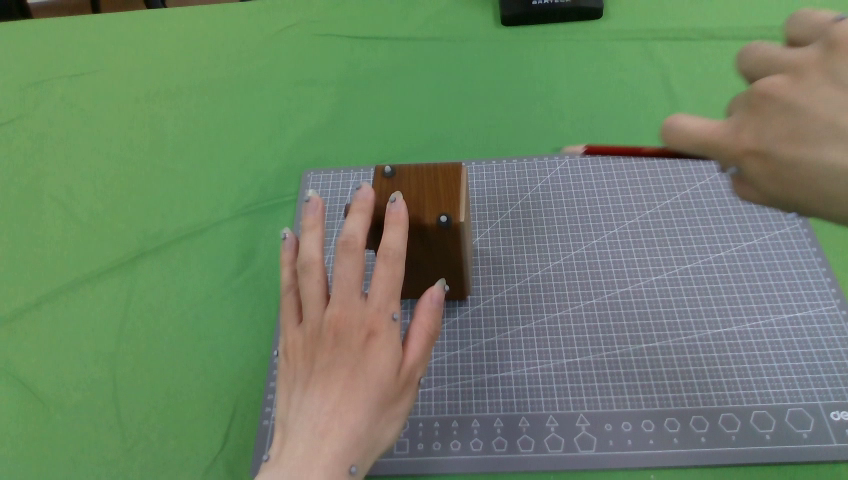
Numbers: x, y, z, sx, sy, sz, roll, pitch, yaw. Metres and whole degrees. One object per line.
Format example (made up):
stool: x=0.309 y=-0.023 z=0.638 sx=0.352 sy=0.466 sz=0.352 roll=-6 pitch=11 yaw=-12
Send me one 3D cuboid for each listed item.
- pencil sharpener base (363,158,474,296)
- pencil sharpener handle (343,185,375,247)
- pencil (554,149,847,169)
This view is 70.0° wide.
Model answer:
pencil sharpener base: x=-0.002 y=-0.007 z=0.475 sx=0.076 sy=0.108 sz=0.061 roll=-1 pitch=54 yaw=7
pencil sharpener handle: x=-0.054 y=-0.015 z=0.472 sx=0.030 sy=0.068 sz=0.035 roll=-1 pitch=58 yaw=7
pencil: x=0.176 y=-0.049 z=0.360 sx=0.193 sy=0.012 sz=0.012 roll=3 pitch=54 yaw=11
